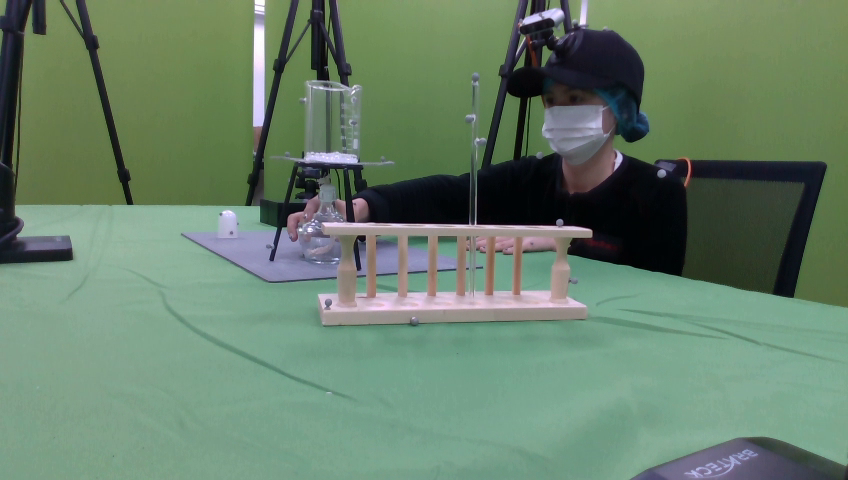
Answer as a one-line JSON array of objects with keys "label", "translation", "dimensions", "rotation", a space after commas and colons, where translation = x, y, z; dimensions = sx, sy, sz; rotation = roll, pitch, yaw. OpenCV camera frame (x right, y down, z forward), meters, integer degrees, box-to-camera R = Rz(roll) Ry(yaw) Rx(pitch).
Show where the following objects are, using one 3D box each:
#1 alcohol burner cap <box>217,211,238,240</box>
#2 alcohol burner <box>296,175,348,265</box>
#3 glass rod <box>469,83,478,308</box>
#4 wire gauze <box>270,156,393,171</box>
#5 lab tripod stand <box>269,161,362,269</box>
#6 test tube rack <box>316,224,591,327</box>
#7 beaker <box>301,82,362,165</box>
[{"label": "alcohol burner cap", "translation": [-0.323, -0.024, 0.994], "dimensions": [0.034, 0.048, 0.034], "rotation": [3, 8, 0]}, {"label": "alcohol burner", "translation": [-0.129, -0.026, 0.798], "dimensions": [0.078, 0.119, 0.078], "rotation": [1, 9, 0]}, {"label": "glass rod", "translation": [0.043, -0.033, 0.523], "dimensions": [0.008, 0.199, 0.008], "rotation": [-1, 14, 1]}, {"label": "wire gauze", "translation": [-0.122, -0.100, 0.786], "dimensions": [0.122, 0.011, 0.124], "rotation": [-5, 14, -38]}, {"label": "lab tripod stand", "translation": [-0.125, -0.036, 0.794], "dimensions": [0.148, 0.131, 0.148], "rotation": [5, 7, 0]}, {"label": "test tube rack", "translation": [0.026, 0.028, 0.555], "dimensions": [0.243, 0.085, 0.066], "rotation": [1, 7, -14]}, {"label": "beaker", "translation": [-0.117, -0.147, 0.776], "dimensions": [0.074, 0.100, 0.083], "rotation": [-3, 10, -38]}]
